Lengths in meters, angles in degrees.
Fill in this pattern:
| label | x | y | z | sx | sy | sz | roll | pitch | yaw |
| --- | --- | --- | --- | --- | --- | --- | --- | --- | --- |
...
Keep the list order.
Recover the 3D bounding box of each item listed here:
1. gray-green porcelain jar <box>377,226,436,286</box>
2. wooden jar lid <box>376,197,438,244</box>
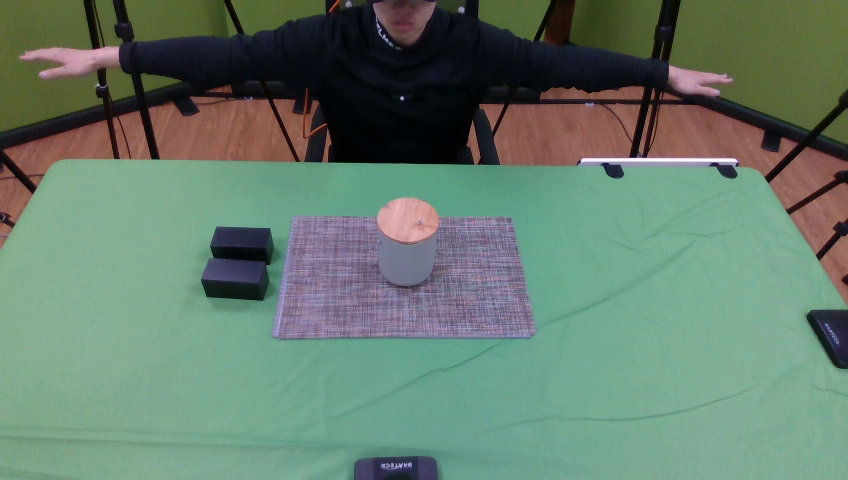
| label | x | y | z | sx | sy | sz | roll | pitch | yaw |
| --- | --- | --- | --- | --- | --- | --- | --- | --- | --- |
| gray-green porcelain jar | -0.033 | 0.014 | 1.105 | 0.106 | 0.127 | 0.105 | 2 | 46 | -2 |
| wooden jar lid | -0.029 | -0.031 | 1.060 | 0.108 | 0.021 | 0.107 | 2 | 47 | -2 |
